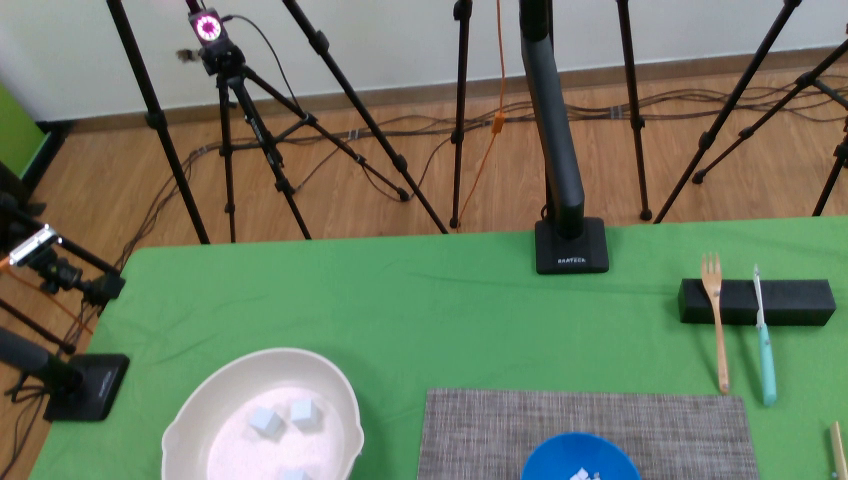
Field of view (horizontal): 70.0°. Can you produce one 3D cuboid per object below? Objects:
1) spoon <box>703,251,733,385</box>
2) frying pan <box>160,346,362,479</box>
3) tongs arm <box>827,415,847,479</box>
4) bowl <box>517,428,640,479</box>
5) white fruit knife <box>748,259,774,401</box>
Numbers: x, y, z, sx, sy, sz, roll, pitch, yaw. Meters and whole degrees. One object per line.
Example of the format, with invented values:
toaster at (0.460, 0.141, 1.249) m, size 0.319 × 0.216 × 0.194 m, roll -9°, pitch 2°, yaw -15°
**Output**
spoon at (0.424, 0.112, 0.879) m, size 0.041 × 0.022 × 0.193 m, roll -3°, pitch 71°, yaw 38°
frying pan at (-0.244, 0.371, 0.816) m, size 0.306 × 0.104 × 0.483 m, roll -2°, pitch 44°, yaw 12°
tongs arm at (0.507, 0.388, 0.688) m, size 0.028 × 0.028 × 0.384 m, roll 3°, pitch 54°, yaw 12°
bowl at (0.195, 0.325, 0.768) m, size 0.151 × 0.077 × 0.150 m, roll -6°, pitch 52°, yaw 8°
white fruit knife at (0.478, 0.123, 0.865) m, size 0.016 × 0.027 × 0.206 m, roll 2°, pitch 68°, yaw 8°
